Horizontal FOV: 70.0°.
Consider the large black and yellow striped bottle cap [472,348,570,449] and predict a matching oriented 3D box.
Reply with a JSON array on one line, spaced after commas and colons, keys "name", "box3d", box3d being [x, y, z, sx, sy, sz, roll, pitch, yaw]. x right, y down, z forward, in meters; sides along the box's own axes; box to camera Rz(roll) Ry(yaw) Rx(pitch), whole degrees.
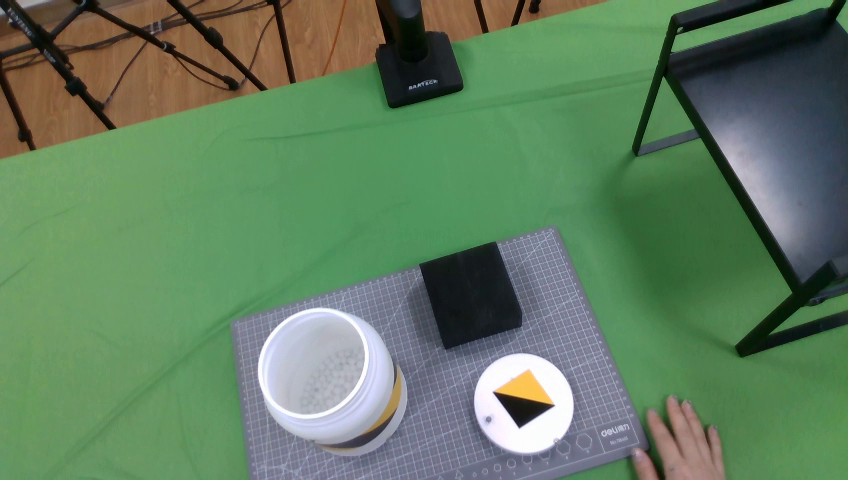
[{"name": "large black and yellow striped bottle cap", "box3d": [0.112, 0.183, 0.707, 0.115, 0.019, 0.114, -2, 63, 5]}]

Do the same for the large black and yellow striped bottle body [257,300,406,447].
[{"name": "large black and yellow striped bottle body", "box3d": [-0.096, 0.146, 0.655, 0.130, 0.185, 0.129, -3, 64, 6]}]
